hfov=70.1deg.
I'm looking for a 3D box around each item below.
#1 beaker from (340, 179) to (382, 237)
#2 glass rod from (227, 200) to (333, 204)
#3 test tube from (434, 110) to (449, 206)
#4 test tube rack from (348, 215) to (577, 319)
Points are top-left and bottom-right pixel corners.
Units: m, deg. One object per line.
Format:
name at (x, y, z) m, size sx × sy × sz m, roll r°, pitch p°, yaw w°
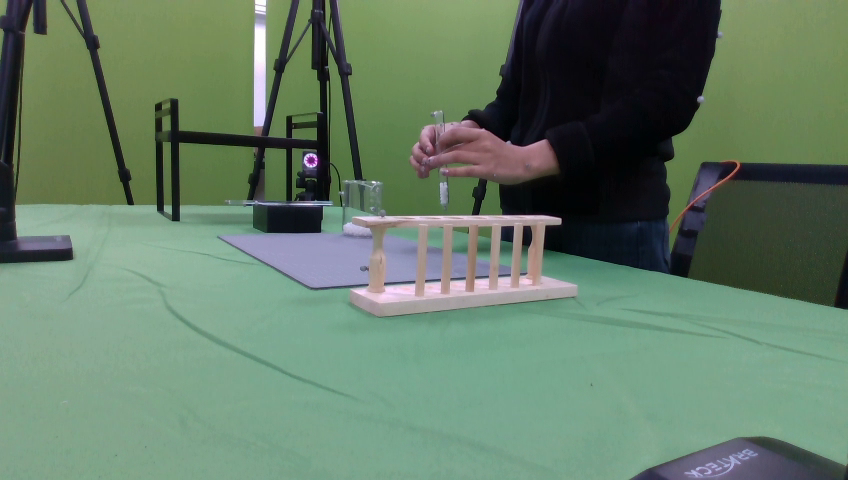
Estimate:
beaker at (-0.113, -0.058, 1.094) m, size 0.074 × 0.100 × 0.083 m, roll -2°, pitch 10°, yaw -29°
glass rod at (-0.268, -0.071, 1.143) m, size 0.201 × 0.008 × 0.008 m, roll -1°, pitch 8°, yaw -29°
test tube at (0.028, -0.129, 0.952) m, size 0.017 × 0.150 × 0.017 m, roll -4°, pitch 2°, yaw 0°
test tube rack at (0.048, 0.021, 0.619) m, size 0.244 × 0.085 × 0.066 m, roll -2°, pitch 9°, yaw -31°
